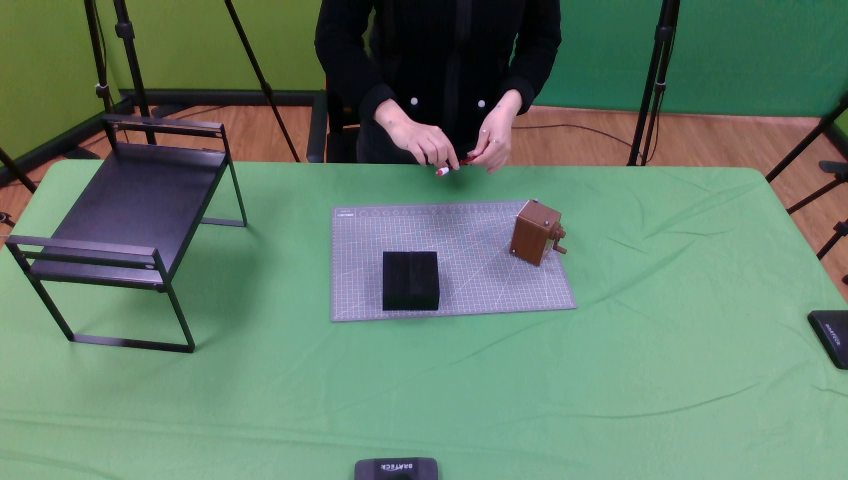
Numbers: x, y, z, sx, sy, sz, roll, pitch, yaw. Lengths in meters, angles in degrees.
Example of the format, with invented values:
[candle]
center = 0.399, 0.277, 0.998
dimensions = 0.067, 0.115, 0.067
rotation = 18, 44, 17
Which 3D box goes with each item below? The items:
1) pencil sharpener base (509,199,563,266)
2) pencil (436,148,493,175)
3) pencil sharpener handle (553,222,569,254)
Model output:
[pencil sharpener base]
center = 0.216, -0.012, 1.160
dimensions = 0.076, 0.107, 0.061
rotation = 27, 50, 20
[pencil]
center = 0.082, -0.152, 1.157
dimensions = 0.012, 0.012, 0.194
rotation = 32, 37, 24
[pencil sharpener handle]
center = 0.260, -0.001, 1.135
dimensions = 0.030, 0.068, 0.036
rotation = 27, 58, 20
